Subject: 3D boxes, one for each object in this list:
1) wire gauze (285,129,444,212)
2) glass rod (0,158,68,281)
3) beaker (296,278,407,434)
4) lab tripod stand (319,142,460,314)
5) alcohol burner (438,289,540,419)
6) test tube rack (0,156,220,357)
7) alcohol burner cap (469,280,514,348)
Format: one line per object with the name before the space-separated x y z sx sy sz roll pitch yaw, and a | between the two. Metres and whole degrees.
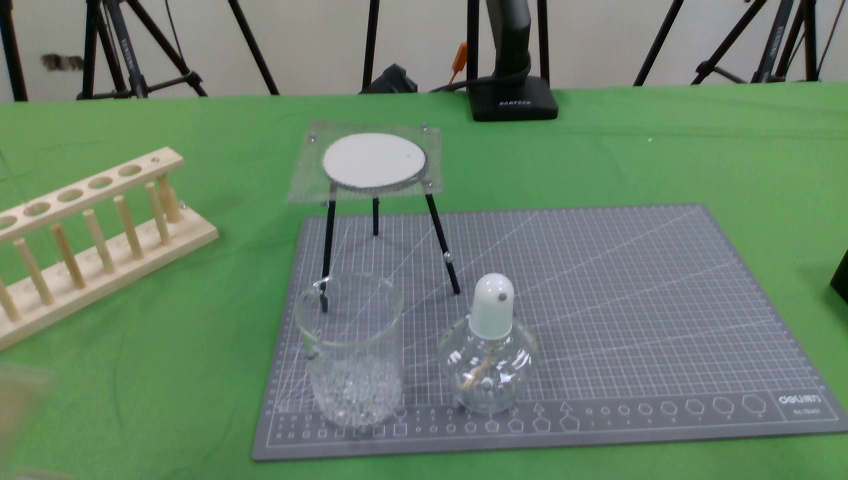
wire gauze | -0.045 -0.062 0.507 0.121 0.011 0.124 0 38 0
glass rod | -0.359 -0.042 0.532 0.008 0.201 0.008 -5 35 4
beaker | -0.053 0.088 0.451 0.083 0.101 0.074 28 46 33
lab tripod stand | -0.036 -0.011 0.550 0.148 0.132 0.147 1 37 0
alcohol burner | 0.049 0.078 0.451 0.078 0.120 0.077 0 40 0
test tube rack | -0.324 0.012 0.569 0.066 0.086 0.242 30 47 34
alcohol burner cap | 0.050 0.049 0.429 0.034 0.048 0.033 1 40 -1
